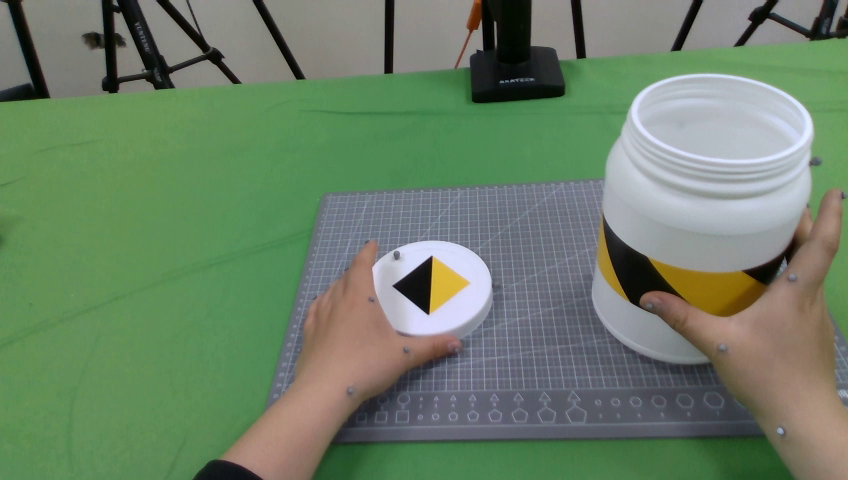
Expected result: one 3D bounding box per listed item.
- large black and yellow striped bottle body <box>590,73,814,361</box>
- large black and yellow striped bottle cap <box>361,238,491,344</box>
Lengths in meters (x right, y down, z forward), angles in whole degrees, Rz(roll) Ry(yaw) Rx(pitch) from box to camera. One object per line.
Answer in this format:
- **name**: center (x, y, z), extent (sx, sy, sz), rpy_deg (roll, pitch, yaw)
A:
- **large black and yellow striped bottle body**: center (0.196, -0.014, 0.446), extent (0.131, 0.186, 0.129), rpy_deg (-4, 43, 4)
- **large black and yellow striped bottle cap**: center (0.001, 0.041, 0.537), extent (0.115, 0.019, 0.114), rpy_deg (-3, 43, 3)
